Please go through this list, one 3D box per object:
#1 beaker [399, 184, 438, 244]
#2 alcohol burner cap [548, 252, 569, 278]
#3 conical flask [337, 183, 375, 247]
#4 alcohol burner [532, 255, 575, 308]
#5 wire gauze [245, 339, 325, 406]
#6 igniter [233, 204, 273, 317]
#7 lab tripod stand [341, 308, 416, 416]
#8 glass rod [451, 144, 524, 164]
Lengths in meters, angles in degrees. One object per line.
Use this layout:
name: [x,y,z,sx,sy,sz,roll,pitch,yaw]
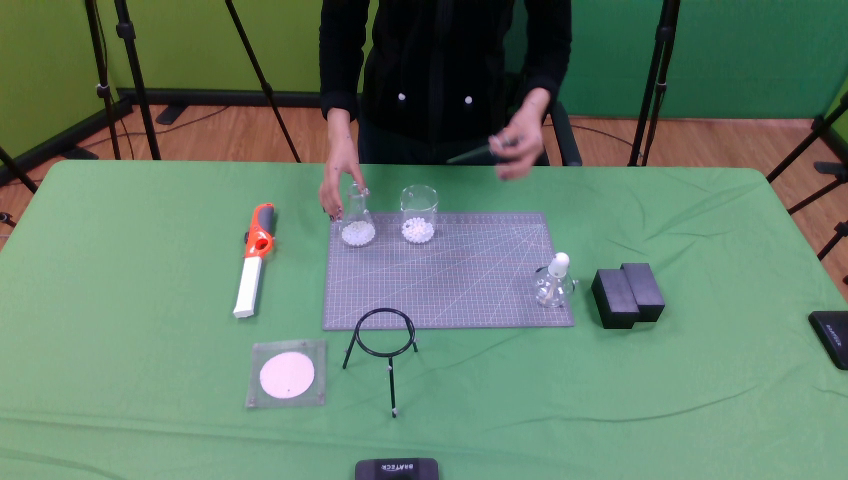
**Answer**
beaker: [-0.014,-0.046,1.186,0.073,0.101,0.084,36,54,27]
alcohol burner cap: [0.238,0.042,1.060,0.034,0.048,0.033,1,53,-1]
conical flask: [-0.131,-0.051,1.165,0.075,0.122,0.075,2,46,-2]
alcohol burner: [0.235,0.066,1.087,0.078,0.119,0.077,4,45,-3]
wire gauze: [-0.224,0.214,0.984,0.125,0.011,0.120,-2,46,-5]
igniter: [-0.321,0.029,1.142,0.057,0.025,0.274,-8,46,4]
lab tripod stand: [-0.061,0.177,0.946,0.148,0.132,0.147,2,44,-2]
glass rod: [0.108,-0.153,1.082,0.008,0.008,0.199,-34,17,-30]
